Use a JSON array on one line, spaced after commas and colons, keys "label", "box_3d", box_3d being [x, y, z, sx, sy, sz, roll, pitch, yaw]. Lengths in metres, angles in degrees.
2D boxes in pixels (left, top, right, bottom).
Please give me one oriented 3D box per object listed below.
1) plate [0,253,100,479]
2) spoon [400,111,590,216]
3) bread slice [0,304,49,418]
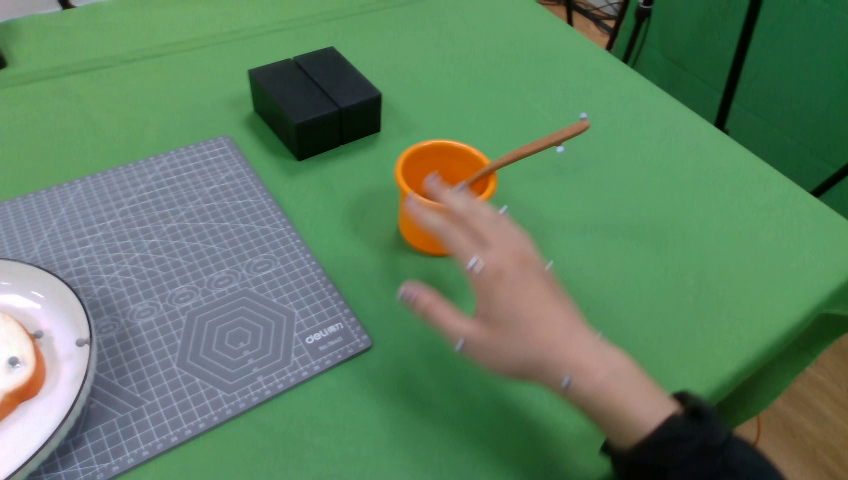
[{"label": "plate", "box_3d": [-0.333, 0.099, 0.414, 0.209, 0.038, 0.207, 4, 50, -5]}, {"label": "spoon", "box_3d": [0.057, -0.067, 0.539, 0.022, 0.193, 0.041, 42, 37, -30]}, {"label": "bread slice", "box_3d": [-0.338, 0.098, 0.418, 0.104, 0.019, 0.131, 37, 56, 21]}]
